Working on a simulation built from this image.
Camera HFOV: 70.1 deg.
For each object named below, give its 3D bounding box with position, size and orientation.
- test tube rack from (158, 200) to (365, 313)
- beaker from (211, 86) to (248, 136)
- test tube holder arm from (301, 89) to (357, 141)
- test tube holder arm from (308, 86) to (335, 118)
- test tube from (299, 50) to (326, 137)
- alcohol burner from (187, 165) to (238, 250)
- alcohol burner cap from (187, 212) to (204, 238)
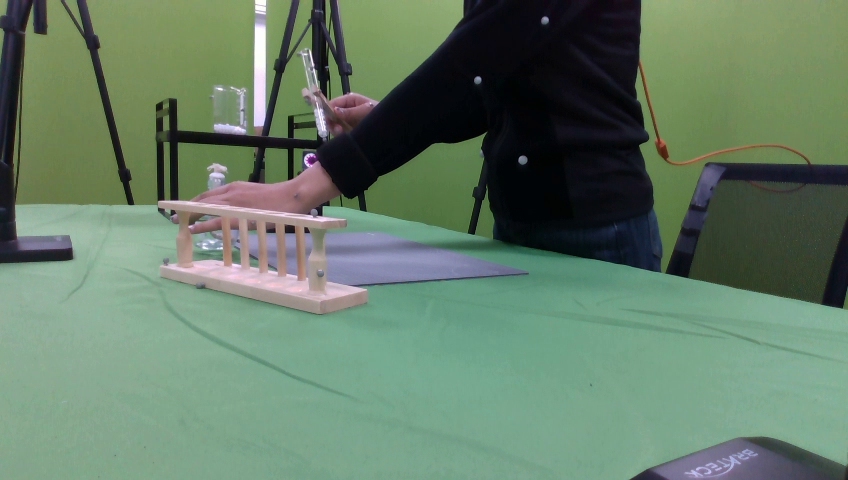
[{"bbox_3d":[-0.174,0.009,0.624,0.241,0.085,0.067,7,9,34],"label":"test tube rack"},{"bbox_3d":[-0.414,-0.274,1.297,0.074,0.100,0.083,-5,11,-44],"label":"beaker"},{"bbox_3d":[-0.152,-0.203,0.995,0.013,0.015,0.179,-12,-17,16],"label":"test tube holder arm"},{"bbox_3d":[-0.160,-0.215,0.952,0.010,0.015,0.088,-11,-16,10],"label":"test tube holder arm"},{"bbox_3d":[-0.171,-0.227,0.933,0.017,0.150,0.017,-13,-15,-3],"label":"test tube"},{"bbox_3d":[-0.295,-0.047,0.851,0.078,0.119,0.078,4,7,0],"label":"alcohol burner"},{"bbox_3d":[-0.390,-0.029,1.025,0.034,0.048,0.034,2,8,0],"label":"alcohol burner cap"}]
